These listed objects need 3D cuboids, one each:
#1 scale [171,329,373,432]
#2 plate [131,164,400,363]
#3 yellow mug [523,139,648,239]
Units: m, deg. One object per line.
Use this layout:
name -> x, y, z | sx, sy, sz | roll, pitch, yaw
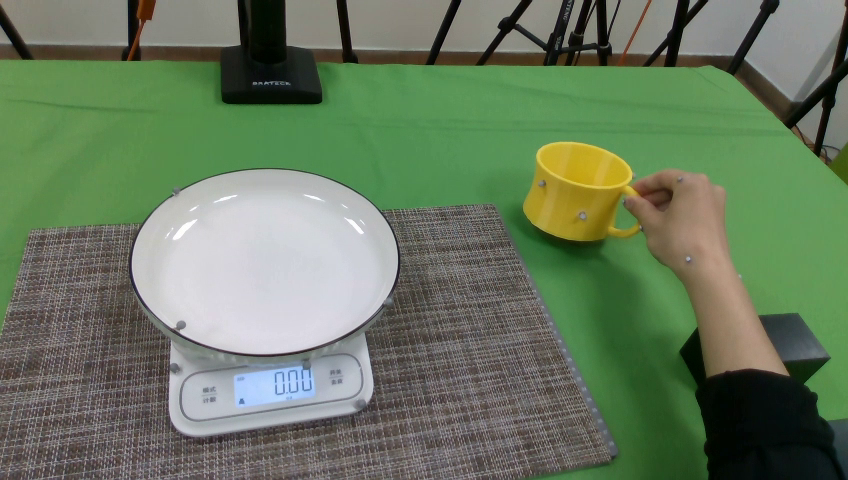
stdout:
scale -> -0.128, 0.056, 0.505 | 0.149, 0.032, 0.198 | -4, 47, -15
plate -> -0.125, 0.016, 0.498 | 0.209, 0.038, 0.207 | 7, 45, -6
yellow mug -> 0.173, -0.049, 0.633 | 0.130, 0.064, 0.100 | 32, 42, 28
